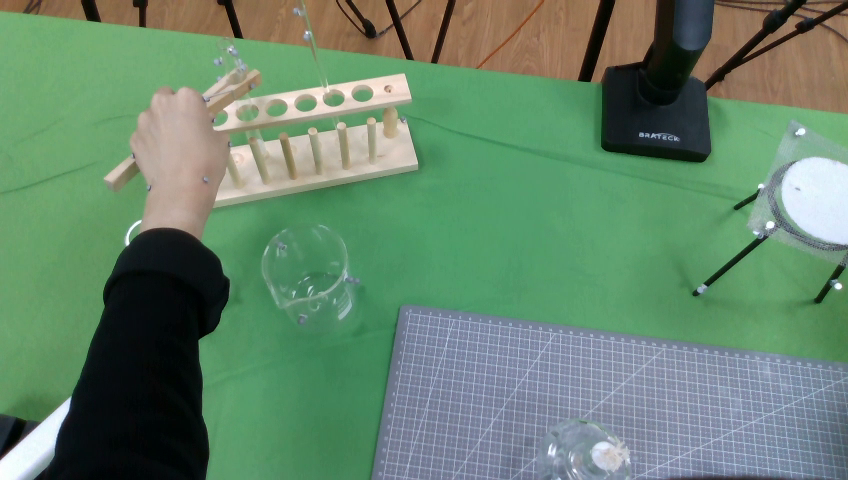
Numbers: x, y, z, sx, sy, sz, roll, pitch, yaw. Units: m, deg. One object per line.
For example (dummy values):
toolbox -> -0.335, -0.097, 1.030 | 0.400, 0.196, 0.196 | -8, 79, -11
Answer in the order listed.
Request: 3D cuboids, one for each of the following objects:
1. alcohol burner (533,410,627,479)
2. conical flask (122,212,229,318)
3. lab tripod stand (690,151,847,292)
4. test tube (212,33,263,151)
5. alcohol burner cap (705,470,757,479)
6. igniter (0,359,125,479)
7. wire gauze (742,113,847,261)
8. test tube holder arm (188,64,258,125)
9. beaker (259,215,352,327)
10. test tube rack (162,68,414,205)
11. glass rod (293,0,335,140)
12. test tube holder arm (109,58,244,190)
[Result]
alcohol burner -> 0.131, 0.174, 0.491 | 0.078, 0.120, 0.077 | 2, 63, -3
conical flask -> -0.231, 0.019, 0.555 | 0.075, 0.123, 0.074 | 0, 64, -1
lab tripod stand -> 0.340, -0.010, 0.577 | 0.148, 0.132, 0.147 | 1, 63, -2
test tube -> -0.181, -0.139, 0.597 | 0.017, 0.151, 0.017 | 1, 58, -1
alcohol burner cap -> 0.266, 0.211, 0.516 | 0.034, 0.048, 0.033 | 1, 65, -1
igniter -> -0.351, 0.204, 0.462 | 0.057, 0.025, 0.276 | 33, 67, 24
wire gauze -> 0.349, -0.041, 0.517 | 0.121, 0.011, 0.124 | 28, 67, 10
test tube holder arm -> -0.188, -0.135, 0.562 | 0.010, 0.015, 0.087 | 34, 56, 12
beaker -> -0.106, 0.036, 0.563 | 0.074, 0.101, 0.083 | 21, 66, 10
test tube rack -> -0.135, -0.108, 0.639 | 0.243, 0.086, 0.066 | -12, 65, -7
glass rod -> -0.106, -0.166, 0.593 | 0.008, 0.201, 0.008 | -2, 57, 4
test tube holder arm -> -0.213, -0.108, 0.538 | 0.013, 0.015, 0.177 | 26, 55, 8
